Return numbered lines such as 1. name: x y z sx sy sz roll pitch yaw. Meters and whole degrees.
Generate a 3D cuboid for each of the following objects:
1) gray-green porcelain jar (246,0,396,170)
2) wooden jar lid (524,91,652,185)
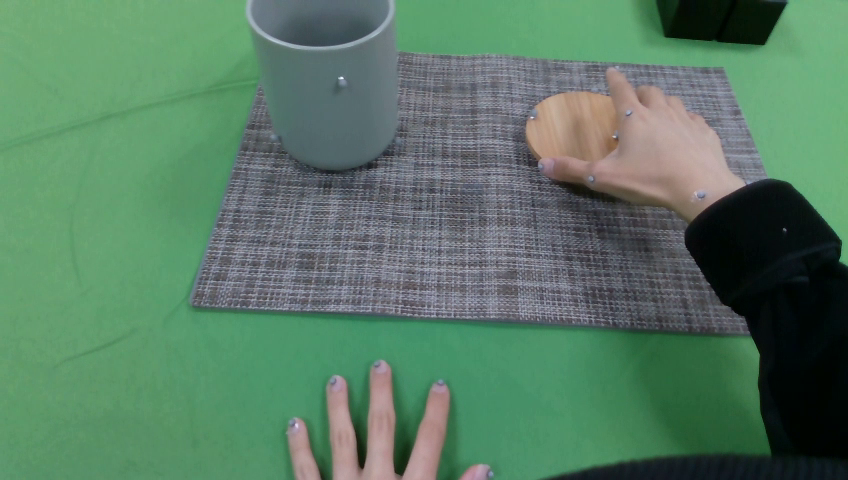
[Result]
1. gray-green porcelain jar: -0.074 -0.127 0.476 0.106 0.127 0.105 1 53 -1
2. wooden jar lid: 0.139 -0.087 0.522 0.108 0.021 0.107 1 52 -1
